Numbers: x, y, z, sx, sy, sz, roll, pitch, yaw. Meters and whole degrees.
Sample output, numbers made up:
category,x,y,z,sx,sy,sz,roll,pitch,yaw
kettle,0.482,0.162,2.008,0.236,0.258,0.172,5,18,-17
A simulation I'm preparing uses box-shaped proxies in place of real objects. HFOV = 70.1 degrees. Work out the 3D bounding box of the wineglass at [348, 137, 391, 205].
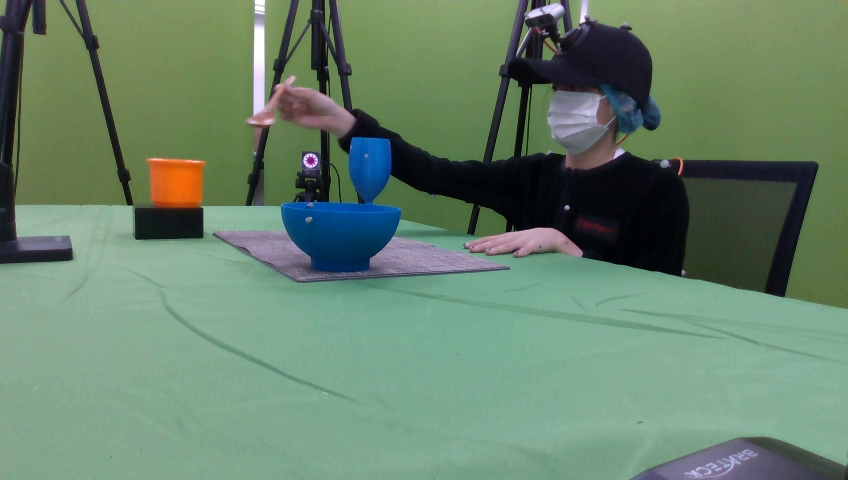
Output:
category,x,y,z,sx,sy,sz,roll,pitch,yaw
wineglass,-0.092,-0.081,0.997,0.074,0.172,0.073,3,7,0

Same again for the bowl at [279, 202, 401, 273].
category,x,y,z,sx,sy,sz,roll,pitch,yaw
bowl,-0.105,-0.003,0.756,0.151,0.077,0.151,3,7,0

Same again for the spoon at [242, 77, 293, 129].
category,x,y,z,sx,sy,sz,roll,pitch,yaw
spoon,-0.266,-0.244,1.062,0.041,0.021,0.193,10,44,7
